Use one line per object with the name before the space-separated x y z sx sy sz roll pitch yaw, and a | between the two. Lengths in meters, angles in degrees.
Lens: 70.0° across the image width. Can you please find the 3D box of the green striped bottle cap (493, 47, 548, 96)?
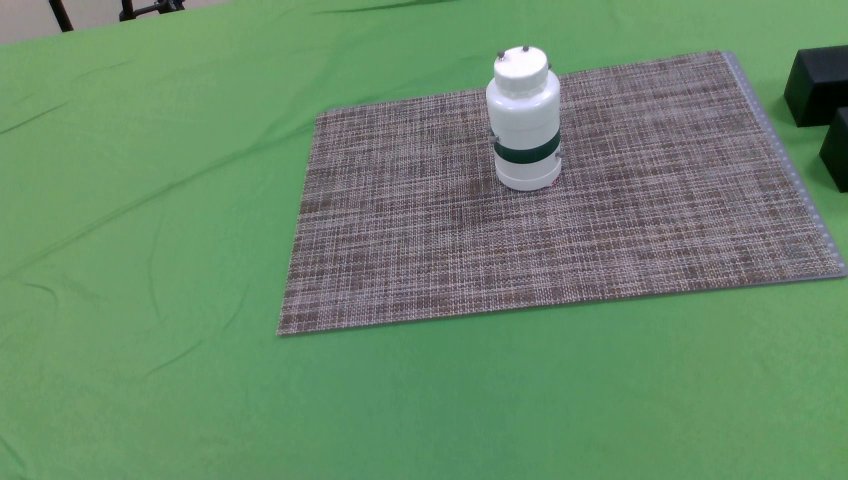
green striped bottle cap | 0.079 -0.139 0.500 0.044 0.020 0.044 -8 50 10

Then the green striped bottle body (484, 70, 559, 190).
green striped bottle body | 0.088 -0.107 0.540 0.063 0.120 0.062 -7 49 8
